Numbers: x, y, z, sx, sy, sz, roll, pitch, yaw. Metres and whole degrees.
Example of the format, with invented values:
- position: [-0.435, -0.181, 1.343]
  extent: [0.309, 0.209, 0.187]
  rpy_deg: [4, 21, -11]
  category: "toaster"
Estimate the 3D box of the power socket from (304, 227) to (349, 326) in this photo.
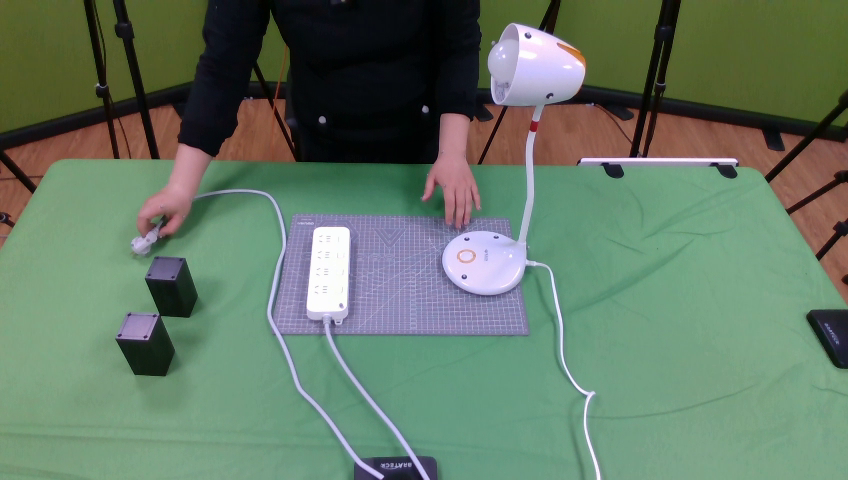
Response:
- position: [-0.177, 0.059, 1.115]
  extent: [0.072, 0.033, 0.225]
  rpy_deg: [-1, 46, -3]
  category: "power socket"

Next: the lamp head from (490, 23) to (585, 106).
- position: [0.165, -0.241, 0.872]
  extent: [0.123, 0.113, 0.111]
  rpy_deg: [9, 43, -17]
  category: "lamp head"

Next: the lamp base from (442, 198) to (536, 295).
- position: [0.130, -0.012, 1.104]
  extent: [0.179, 0.181, 0.159]
  rpy_deg: [-1, 46, -9]
  category: "lamp base"

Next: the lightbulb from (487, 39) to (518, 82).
- position: [0.143, -0.252, 0.865]
  extent: [0.108, 0.060, 0.059]
  rpy_deg: [9, 45, -7]
  category: "lightbulb"

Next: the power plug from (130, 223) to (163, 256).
- position: [-0.522, 0.004, 1.147]
  extent: [0.052, 0.035, 0.072]
  rpy_deg: [-25, 16, 24]
  category: "power plug"
